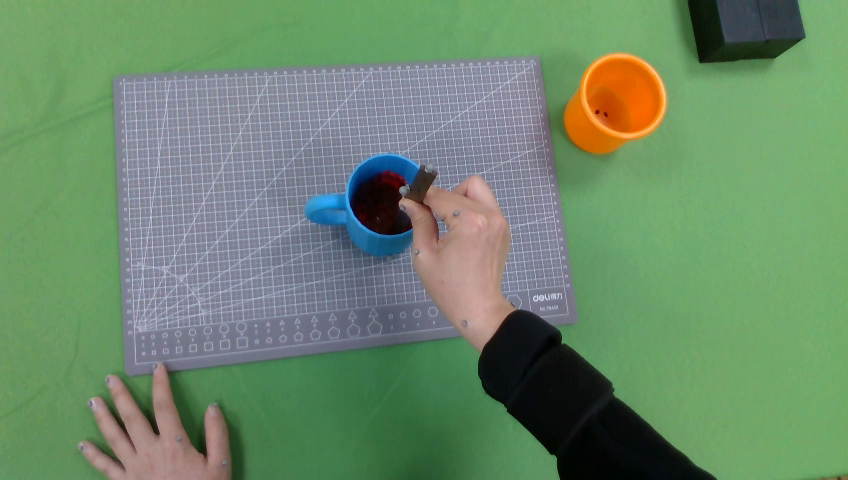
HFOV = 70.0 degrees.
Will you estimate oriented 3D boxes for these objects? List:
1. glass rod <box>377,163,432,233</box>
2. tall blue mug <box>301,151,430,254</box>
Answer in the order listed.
[{"bbox_3d":[-0.025,-0.023,0.513,0.008,0.200,0.008,5,72,-16],"label":"glass rod"},{"bbox_3d":[-0.053,-0.025,0.573,0.107,0.108,0.077,-29,86,-11],"label":"tall blue mug"}]
